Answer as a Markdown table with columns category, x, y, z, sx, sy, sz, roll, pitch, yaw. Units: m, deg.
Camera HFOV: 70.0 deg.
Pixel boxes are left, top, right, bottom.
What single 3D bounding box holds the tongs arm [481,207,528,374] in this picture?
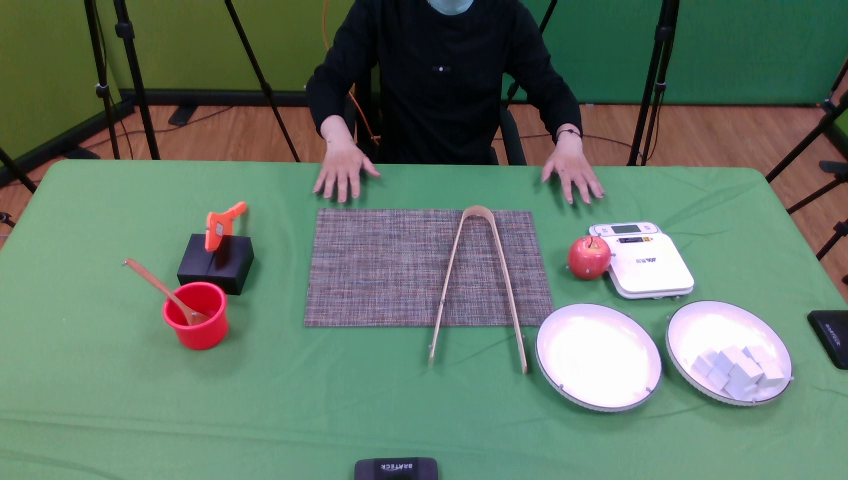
| category | x | y | z | sx | sy | sz | roll | pitch | yaw |
| --- | --- | --- | --- | --- | --- | --- | --- | --- | --- |
| tongs arm | 0.149 | 0.077 | 1.123 | 0.028 | 0.028 | 0.385 | -4 | 46 | -2 |

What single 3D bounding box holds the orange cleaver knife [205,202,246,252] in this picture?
| category | x | y | z | sx | sy | sz | roll | pitch | yaw |
| --- | --- | --- | --- | --- | --- | --- | --- | --- | --- |
| orange cleaver knife | -0.374 | -0.029 | 1.150 | 0.012 | 0.077 | 0.211 | 4 | 13 | 0 |

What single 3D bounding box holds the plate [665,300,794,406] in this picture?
| category | x | y | z | sx | sy | sz | roll | pitch | yaw |
| --- | --- | --- | --- | --- | --- | --- | --- | --- | --- |
| plate | 0.513 | 0.194 | 1.034 | 0.208 | 0.039 | 0.206 | 2 | 46 | -2 |

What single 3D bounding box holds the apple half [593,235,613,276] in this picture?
| category | x | y | z | sx | sy | sz | roll | pitch | yaw |
| --- | --- | --- | --- | --- | --- | --- | --- | --- | --- |
| apple half | 0.340 | 0.029 | 1.155 | 0.033 | 0.082 | 0.080 | -10 | 47 | -8 |

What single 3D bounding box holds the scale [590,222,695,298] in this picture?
| category | x | y | z | sx | sy | sz | roll | pitch | yaw |
| --- | --- | --- | --- | --- | --- | --- | --- | --- | --- |
| scale | 0.424 | 0.031 | 1.189 | 0.149 | 0.032 | 0.199 | -3 | 46 | -7 |

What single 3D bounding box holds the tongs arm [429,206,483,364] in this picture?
| category | x | y | z | sx | sy | sz | roll | pitch | yaw |
| --- | --- | --- | --- | --- | --- | --- | --- | --- | --- |
| tongs arm | 0.064 | 0.069 | 1.124 | 0.051 | 0.026 | 0.382 | 8 | 46 | 5 |

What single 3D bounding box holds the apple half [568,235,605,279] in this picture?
| category | x | y | z | sx | sy | sz | roll | pitch | yaw |
| --- | --- | --- | --- | --- | --- | --- | --- | --- | --- |
| apple half | 0.302 | 0.035 | 1.148 | 0.053 | 0.075 | 0.080 | -9 | 51 | -8 |

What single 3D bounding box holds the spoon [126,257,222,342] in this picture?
| category | x | y | z | sx | sy | sz | roll | pitch | yaw |
| --- | --- | --- | --- | --- | --- | --- | --- | --- | --- |
| spoon | -0.408 | 0.096 | 0.990 | 0.194 | 0.021 | 0.041 | 50 | 53 | -18 |

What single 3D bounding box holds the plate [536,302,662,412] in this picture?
| category | x | y | z | sx | sy | sz | roll | pitch | yaw |
| --- | --- | --- | --- | --- | --- | --- | --- | --- | --- |
| plate | 0.288 | 0.197 | 1.016 | 0.209 | 0.038 | 0.208 | 2 | 46 | -2 |
